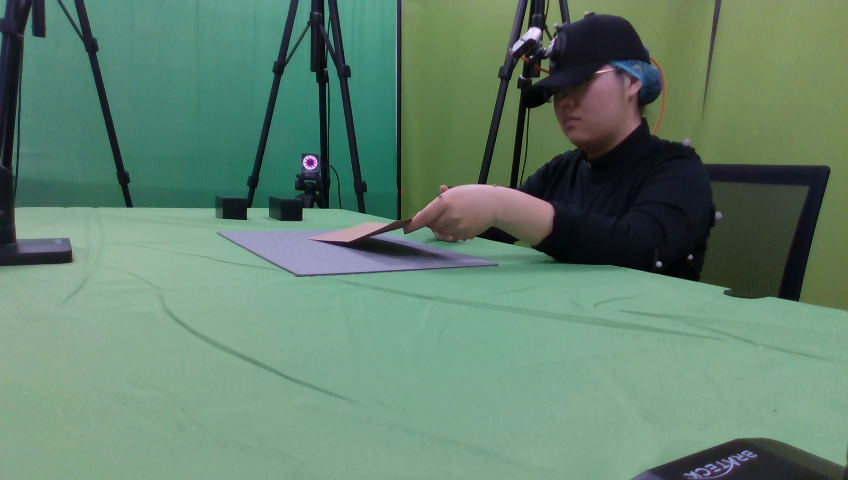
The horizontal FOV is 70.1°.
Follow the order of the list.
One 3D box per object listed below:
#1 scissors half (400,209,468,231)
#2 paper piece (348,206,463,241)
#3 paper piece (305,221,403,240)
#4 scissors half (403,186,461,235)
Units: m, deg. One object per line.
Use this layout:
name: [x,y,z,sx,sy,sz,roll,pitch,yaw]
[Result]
scissors half: [0.021,-0.031,1.078,0.012,0.040,0.176,-9,-1,44]
paper piece: [-0.031,-0.026,0.938,0.136,0.008,0.137,-21,3,-38]
paper piece: [-0.114,-0.016,1.040,0.136,0.004,0.134,-16,12,-39]
scissors half: [0.014,-0.052,1.076,0.013,0.040,0.175,-16,20,45]
